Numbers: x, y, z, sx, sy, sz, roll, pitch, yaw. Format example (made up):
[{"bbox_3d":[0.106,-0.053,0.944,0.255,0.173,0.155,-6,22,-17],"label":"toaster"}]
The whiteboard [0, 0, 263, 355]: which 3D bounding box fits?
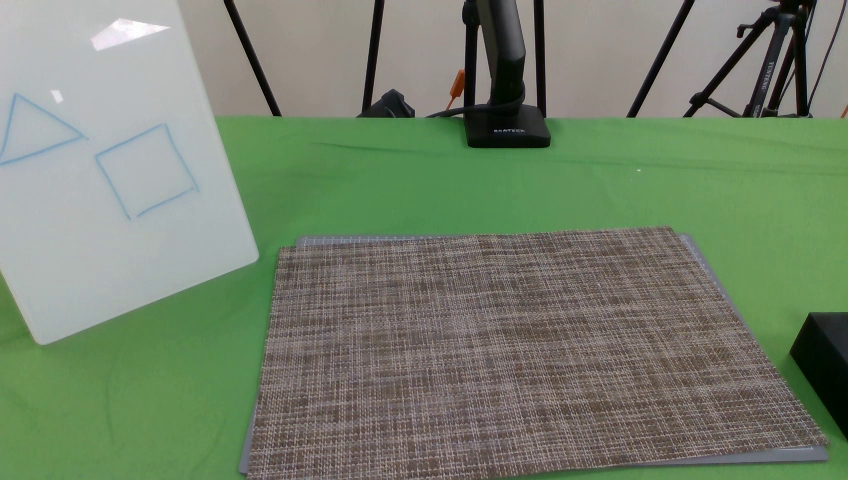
[{"bbox_3d":[-0.326,-0.086,0.598,0.217,0.307,0.142,-24,24,-29],"label":"whiteboard"}]
